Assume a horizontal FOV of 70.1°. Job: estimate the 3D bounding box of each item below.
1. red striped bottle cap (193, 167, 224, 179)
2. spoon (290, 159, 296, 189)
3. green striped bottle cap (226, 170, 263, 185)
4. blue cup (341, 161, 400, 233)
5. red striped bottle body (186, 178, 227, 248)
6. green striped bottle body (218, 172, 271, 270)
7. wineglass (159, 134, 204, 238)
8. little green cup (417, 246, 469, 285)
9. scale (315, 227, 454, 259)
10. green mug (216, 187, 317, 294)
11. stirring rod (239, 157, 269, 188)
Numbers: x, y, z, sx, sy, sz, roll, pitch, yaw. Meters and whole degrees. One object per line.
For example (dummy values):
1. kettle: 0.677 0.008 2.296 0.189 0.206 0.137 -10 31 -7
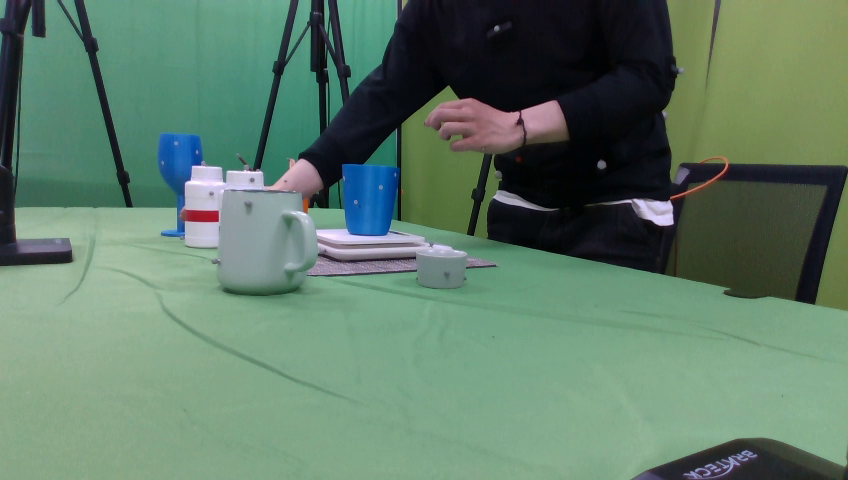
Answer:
1. red striped bottle cap: -0.329 -0.103 0.921 0.044 0.017 0.044 0 9 0
2. spoon: -0.273 -0.102 1.252 0.042 0.193 0.021 7 -38 -17
3. green striped bottle cap: -0.222 -0.077 0.748 0.044 0.020 0.044 1 7 0
4. blue cup: -0.080 -0.062 0.884 0.093 0.100 0.092 3 4 0
5. red striped bottle body: -0.331 -0.050 0.927 0.063 0.119 0.063 2 7 0
6. green striped bottle body: -0.223 -0.025 0.755 0.063 0.119 0.063 1 7 0
7. wineglass: -0.415 -0.093 1.040 0.074 0.172 0.073 2 7 0
8. little green cup: 0.021 0.029 0.701 0.061 0.038 0.061 1 6 0
9. scale: -0.066 0.001 0.906 0.202 0.031 0.148 -2 8 -31
10. green mug: -0.157 0.000 0.629 0.124 0.105 0.093 7 9 37
11. stirring rod: -0.309 -0.098 1.209 0.006 0.177 0.014 -38 29 -3
